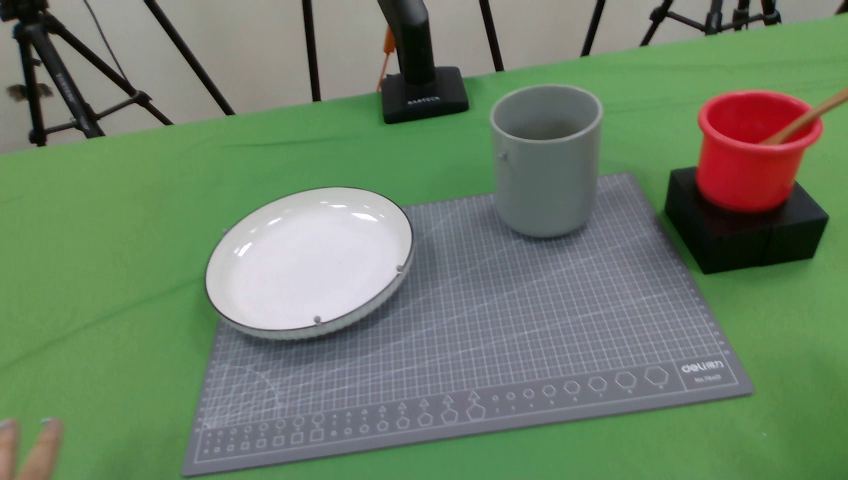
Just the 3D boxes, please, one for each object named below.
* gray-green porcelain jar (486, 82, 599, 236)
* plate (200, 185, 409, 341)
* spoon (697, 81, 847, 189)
[{"bbox_3d":[0.118,-0.076,0.606,0.106,0.128,0.105,-6,42,6],"label":"gray-green porcelain jar"},{"bbox_3d":[-0.116,0.023,0.610,0.207,0.039,0.205,-5,42,5],"label":"plate"},{"bbox_3d":[0.321,-0.102,0.510,0.022,0.194,0.041,31,40,-23],"label":"spoon"}]
